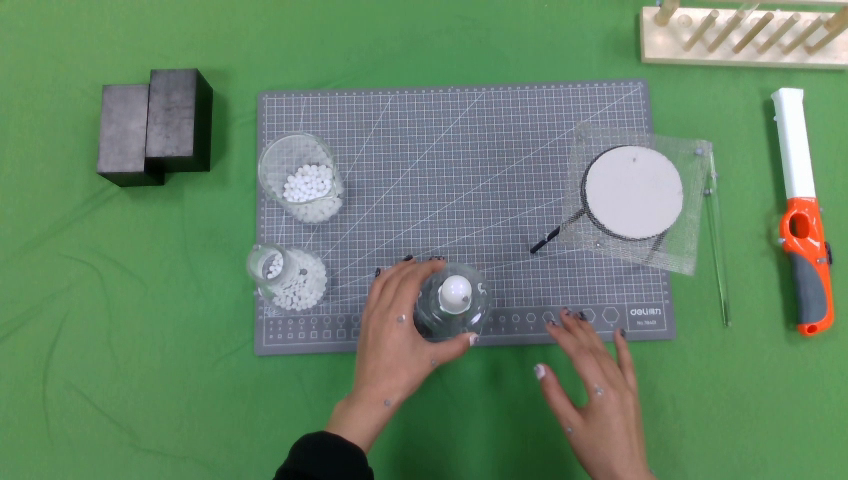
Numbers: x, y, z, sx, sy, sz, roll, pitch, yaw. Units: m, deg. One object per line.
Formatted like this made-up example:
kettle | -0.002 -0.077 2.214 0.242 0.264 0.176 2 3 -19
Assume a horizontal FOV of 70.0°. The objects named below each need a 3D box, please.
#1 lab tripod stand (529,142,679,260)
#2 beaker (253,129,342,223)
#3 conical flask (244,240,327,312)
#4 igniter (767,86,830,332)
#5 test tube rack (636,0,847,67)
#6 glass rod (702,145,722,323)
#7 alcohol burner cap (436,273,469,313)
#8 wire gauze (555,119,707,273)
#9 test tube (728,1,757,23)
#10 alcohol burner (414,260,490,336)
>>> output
lab tripod stand | 0.182 -0.031 0.608 0.148 0.132 0.148 0 81 0
beaker | -0.123 -0.060 0.628 0.084 0.100 0.074 34 81 6
conical flask | -0.142 0.030 0.600 0.075 0.122 0.075 0 79 0
igniter | 0.412 -0.038 0.668 0.057 0.025 0.275 1 79 -10
test tube rack | 0.372 -0.247 0.677 0.242 0.085 0.066 2 79 0
glass rod | 0.319 -0.009 0.671 0.008 0.008 0.199 -1 82 -1
alcohol burner cap | 0.028 0.047 0.566 0.034 0.048 0.033 1 72 -2
wire gauze | 0.186 -0.042 0.542 0.125 0.011 0.121 12 81 3
test tube | 0.356 -0.271 0.631 0.017 0.151 0.017 0 79 3
alcohol burner | 0.027 0.056 0.601 0.078 0.119 0.077 0 80 2
